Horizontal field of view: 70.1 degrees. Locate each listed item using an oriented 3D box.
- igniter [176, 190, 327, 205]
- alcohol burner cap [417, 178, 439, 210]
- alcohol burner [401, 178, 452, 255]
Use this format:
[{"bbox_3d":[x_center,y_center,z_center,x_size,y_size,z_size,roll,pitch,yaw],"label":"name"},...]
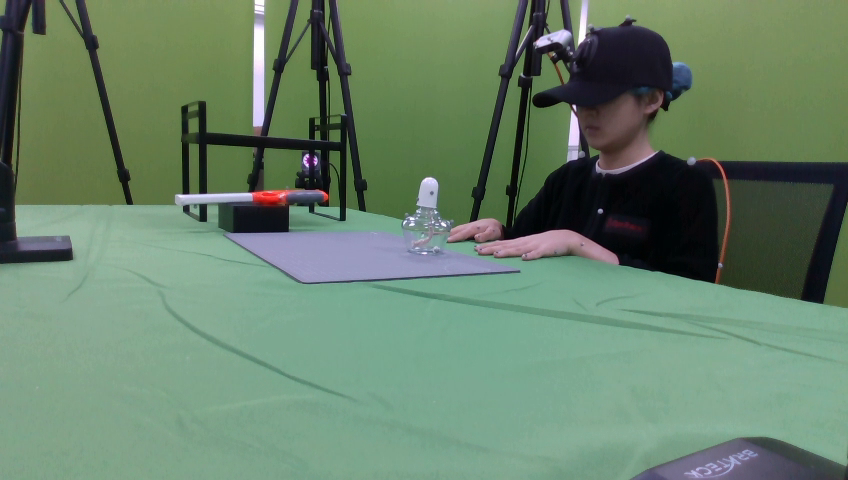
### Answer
[{"bbox_3d":[-0.316,-0.080,1.137,0.278,0.025,0.057,-4,12,-33],"label":"igniter"},{"bbox_3d":[0.007,-0.071,0.917,0.034,0.048,0.034,6,6,0],"label":"alcohol burner cap"},{"bbox_3d":[0.005,-0.036,0.923,0.078,0.119,0.078,5,7,0],"label":"alcohol burner"}]
